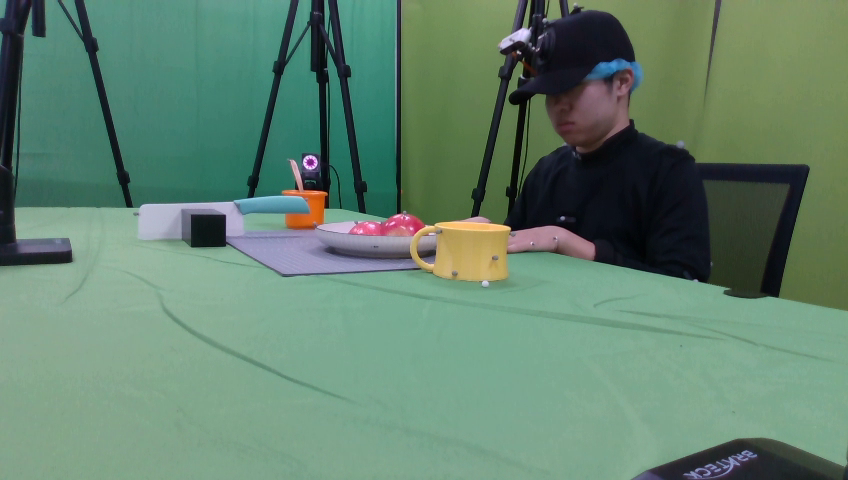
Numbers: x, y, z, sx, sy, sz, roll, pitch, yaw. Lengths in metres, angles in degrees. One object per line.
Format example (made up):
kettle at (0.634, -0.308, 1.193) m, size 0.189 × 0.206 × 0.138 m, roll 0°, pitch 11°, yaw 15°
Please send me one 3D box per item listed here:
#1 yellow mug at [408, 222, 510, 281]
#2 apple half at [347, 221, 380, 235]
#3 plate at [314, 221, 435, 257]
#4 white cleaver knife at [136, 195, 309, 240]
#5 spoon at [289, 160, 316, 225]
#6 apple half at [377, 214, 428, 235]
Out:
yellow mug at (0.044, 0.012, 0.784) m, size 0.131 × 0.064 × 0.100 m, roll 2°, pitch 7°, yaw 4°
apple half at (-0.089, -0.014, 0.985) m, size 0.081 × 0.033 × 0.081 m, roll 5°, pitch 6°, yaw 0°
plate at (-0.067, -0.002, 0.948) m, size 0.209 × 0.038 × 0.209 m, roll 3°, pitch 7°, yaw 0°
white cleaver knife at (-0.337, -0.039, 1.037) m, size 0.288 × 0.066 × 0.021 m, roll -6°, pitch 15°, yaw -29°
spoon at (-0.260, -0.102, 1.268) m, size 0.042 × 0.193 × 0.021 m, roll 1°, pitch -37°, yaw -27°
apple half at (-0.034, -0.013, 0.924) m, size 0.080 × 0.053 × 0.075 m, roll 5°, pitch 10°, yaw 16°
